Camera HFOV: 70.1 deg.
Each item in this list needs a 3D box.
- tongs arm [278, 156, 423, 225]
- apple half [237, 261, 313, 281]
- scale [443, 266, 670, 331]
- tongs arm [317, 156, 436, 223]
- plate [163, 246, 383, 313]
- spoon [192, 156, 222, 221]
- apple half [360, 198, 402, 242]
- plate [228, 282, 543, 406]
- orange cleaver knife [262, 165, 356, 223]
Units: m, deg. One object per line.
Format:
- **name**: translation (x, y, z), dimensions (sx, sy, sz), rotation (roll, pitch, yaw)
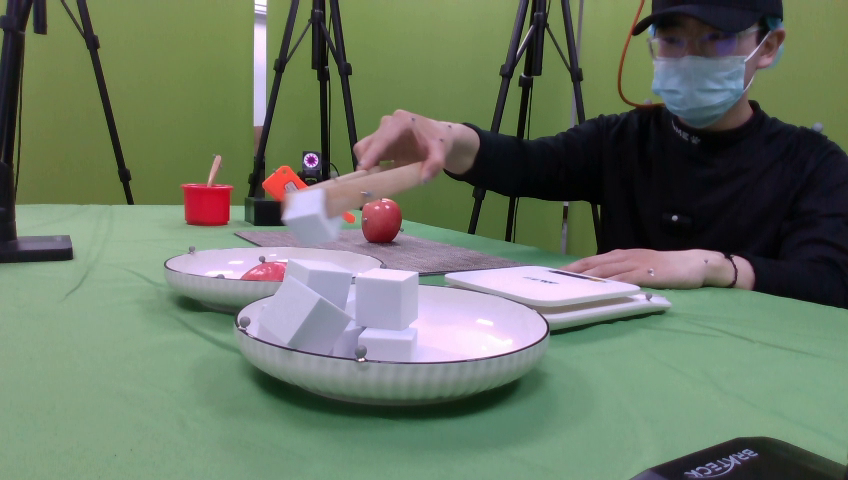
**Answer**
- **tongs arm**: translation (-0.058, -0.064, 0.655), dimensions (0.051, 0.026, 0.385), rotation (-3, 11, 10)
- **apple half**: translation (-0.141, 0.035, 0.578), dimensions (0.081, 0.033, 0.081), rotation (2, 11, 0)
- **scale**: translation (0.131, 0.052, 0.603), dimensions (0.202, 0.031, 0.148), rotation (-2, 9, -37)
- **tongs arm**: translation (-0.035, -0.064, 0.649), dimensions (0.028, 0.028, 0.388), rotation (-5, 10, 15)
- **plate**: translation (-0.145, 0.038, 0.600), dimensions (0.209, 0.038, 0.209), rotation (2, 7, 0)
- **spoon**: translation (-0.430, -0.108, 1.222), dimensions (0.041, 0.021, 0.193), rotation (-1, 52, 1)
- **apple half**: translation (-0.066, -0.032, 1.014), dimensions (0.053, 0.074, 0.081), rotation (9, 6, 21)
- **plate**: translation (-0.025, 0.067, 0.413), dimensions (0.208, 0.039, 0.207), rotation (3, 7, 0)
- **orange cleaver knife**: translation (-0.243, -0.081, 1.292), dimensions (0.212, 0.077, 0.012), rotation (34, -8, -26)
